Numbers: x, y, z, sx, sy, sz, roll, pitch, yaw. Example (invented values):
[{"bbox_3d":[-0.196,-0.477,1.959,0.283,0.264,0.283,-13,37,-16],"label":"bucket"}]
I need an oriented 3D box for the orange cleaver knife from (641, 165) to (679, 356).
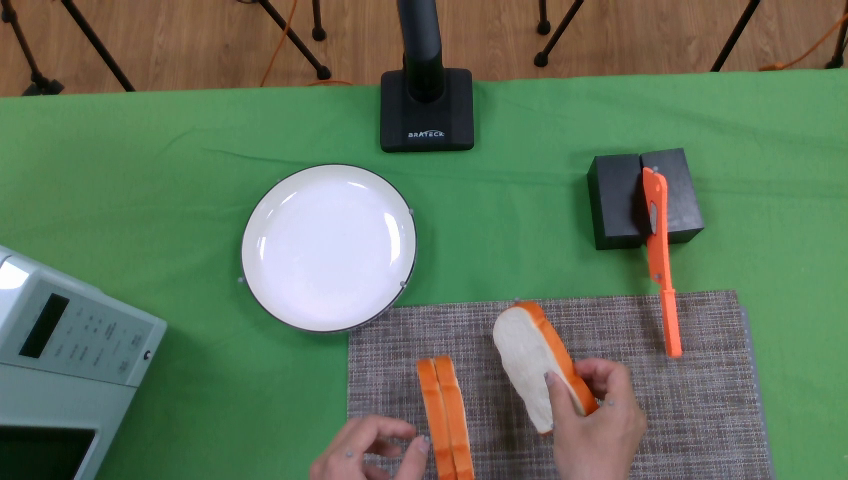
[{"bbox_3d":[0.260,0.020,0.675,0.012,0.077,0.211,-6,93,3],"label":"orange cleaver knife"}]

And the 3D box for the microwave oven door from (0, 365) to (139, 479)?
[{"bbox_3d":[-0.400,0.280,0.522,0.039,0.245,0.354,18,74,9],"label":"microwave oven door"}]

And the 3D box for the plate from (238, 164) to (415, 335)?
[{"bbox_3d":[-0.112,0.011,0.720,0.207,0.039,0.206,-1,72,2],"label":"plate"}]

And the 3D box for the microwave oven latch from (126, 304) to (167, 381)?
[{"bbox_3d":[-0.318,0.115,0.677,0.030,0.029,0.079,21,75,9],"label":"microwave oven latch"}]

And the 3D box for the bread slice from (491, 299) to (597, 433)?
[{"bbox_3d":[0.116,0.129,0.629,0.018,0.107,0.133,-15,72,-29],"label":"bread slice"}]

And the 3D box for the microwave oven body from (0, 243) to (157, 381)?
[{"bbox_3d":[-0.523,0.198,0.559,0.325,0.261,0.440,19,75,8],"label":"microwave oven body"}]
